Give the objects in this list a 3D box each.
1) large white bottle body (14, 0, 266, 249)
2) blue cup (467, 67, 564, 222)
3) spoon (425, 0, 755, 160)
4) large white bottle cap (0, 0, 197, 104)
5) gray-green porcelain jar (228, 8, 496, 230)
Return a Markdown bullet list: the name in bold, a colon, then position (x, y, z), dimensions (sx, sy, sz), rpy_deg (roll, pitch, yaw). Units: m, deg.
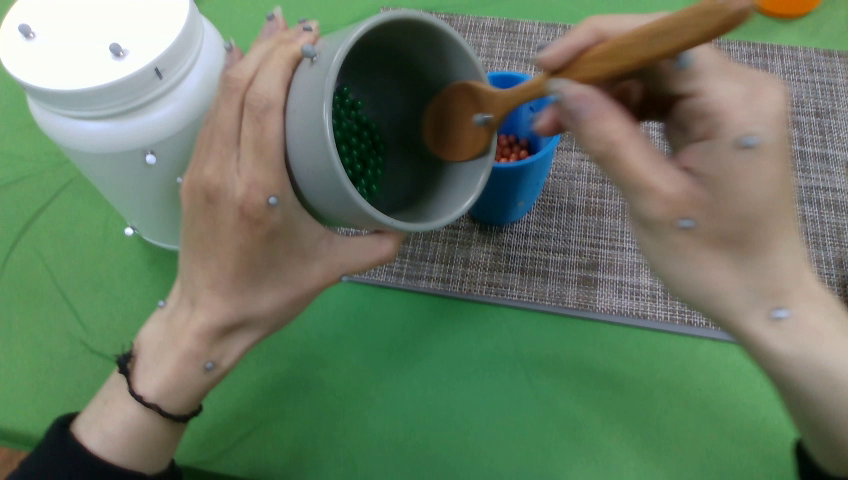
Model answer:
- **large white bottle body**: position (-0.193, -0.089, 0.441), dimensions (0.130, 0.186, 0.129), rpy_deg (-1, 62, 2)
- **blue cup**: position (0.057, -0.063, 0.460), dimensions (0.092, 0.101, 0.092), rpy_deg (-2, 62, 4)
- **spoon**: position (0.048, -0.064, 0.256), dimensions (0.022, 0.193, 0.041), rpy_deg (-11, 95, -23)
- **large white bottle cap**: position (-0.197, -0.130, 0.367), dimensions (0.115, 0.018, 0.114), rpy_deg (-1, 61, 2)
- **gray-green porcelain jar**: position (-0.041, -0.060, 0.336), dimensions (0.125, 0.107, 0.105), rpy_deg (5, 53, 51)
